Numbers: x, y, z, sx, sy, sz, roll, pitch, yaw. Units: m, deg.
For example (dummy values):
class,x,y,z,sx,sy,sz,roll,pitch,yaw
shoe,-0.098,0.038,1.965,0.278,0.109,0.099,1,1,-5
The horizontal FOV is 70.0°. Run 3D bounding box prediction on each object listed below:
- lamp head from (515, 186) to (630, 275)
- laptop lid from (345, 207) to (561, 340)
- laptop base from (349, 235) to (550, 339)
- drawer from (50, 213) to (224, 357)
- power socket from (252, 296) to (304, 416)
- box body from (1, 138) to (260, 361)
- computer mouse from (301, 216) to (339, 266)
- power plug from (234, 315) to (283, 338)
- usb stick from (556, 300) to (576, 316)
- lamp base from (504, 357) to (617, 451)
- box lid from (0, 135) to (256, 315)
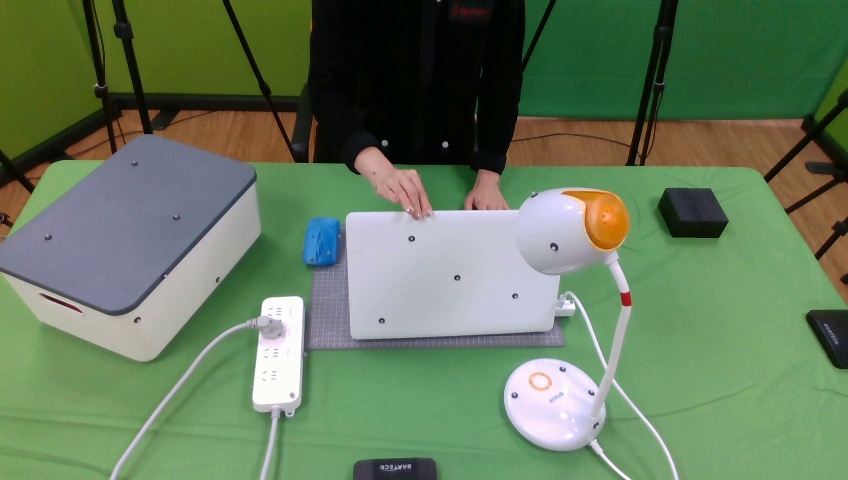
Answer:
class,x,y,z,sx,sy,sz,roll,pitch,yaw
lamp head,0.188,-0.013,0.728,0.112,0.112,0.122,-25,9,-25
laptop lid,0.052,0.058,0.987,0.357,0.242,0.013,0,24,-6
laptop base,0.039,0.081,1.125,0.355,0.023,0.234,-2,43,-6
drawer,-0.492,0.075,1.057,0.194,0.073,0.211,18,57,10
power socket,-0.237,0.182,0.997,0.072,0.033,0.225,-3,47,-5
box body,-0.482,0.006,1.056,0.254,0.161,0.362,17,47,12
computer mouse,-0.200,-0.002,1.170,0.063,0.041,0.116,3,50,-3
power plug,-0.269,0.144,1.000,0.072,0.053,0.035,5,46,3
usb stick,0.239,0.121,1.084,0.059,0.027,0.021,-1,51,-1
lamp base,0.220,0.211,0.903,0.160,0.181,0.178,-33,59,-30
box lid,-0.480,-0.044,1.002,0.263,0.015,0.370,18,47,12
